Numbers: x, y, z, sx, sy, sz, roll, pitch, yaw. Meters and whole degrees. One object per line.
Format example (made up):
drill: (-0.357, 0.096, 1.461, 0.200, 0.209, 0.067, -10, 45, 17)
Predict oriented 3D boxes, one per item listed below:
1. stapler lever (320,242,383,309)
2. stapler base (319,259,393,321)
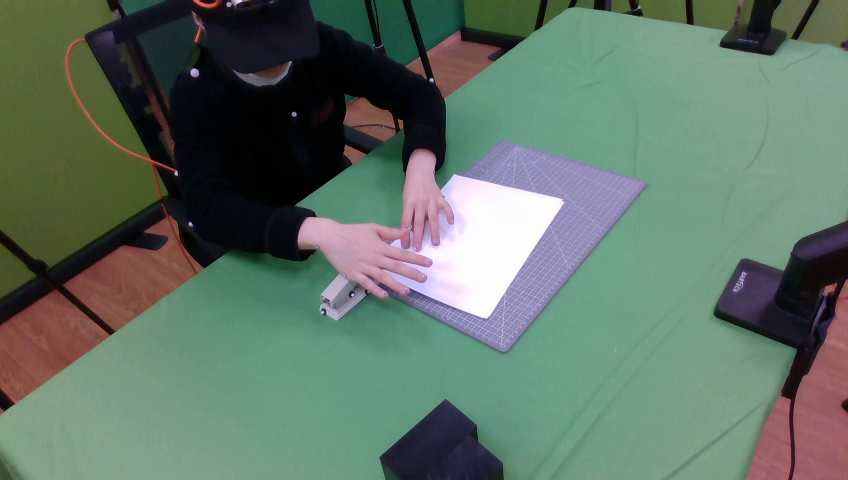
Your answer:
stapler lever: (-0.106, 0.049, 0.889, 0.026, 0.040, 0.118, 24, 53, 34)
stapler base: (-0.102, 0.066, 0.907, 0.041, 0.024, 0.131, 24, 53, 34)
